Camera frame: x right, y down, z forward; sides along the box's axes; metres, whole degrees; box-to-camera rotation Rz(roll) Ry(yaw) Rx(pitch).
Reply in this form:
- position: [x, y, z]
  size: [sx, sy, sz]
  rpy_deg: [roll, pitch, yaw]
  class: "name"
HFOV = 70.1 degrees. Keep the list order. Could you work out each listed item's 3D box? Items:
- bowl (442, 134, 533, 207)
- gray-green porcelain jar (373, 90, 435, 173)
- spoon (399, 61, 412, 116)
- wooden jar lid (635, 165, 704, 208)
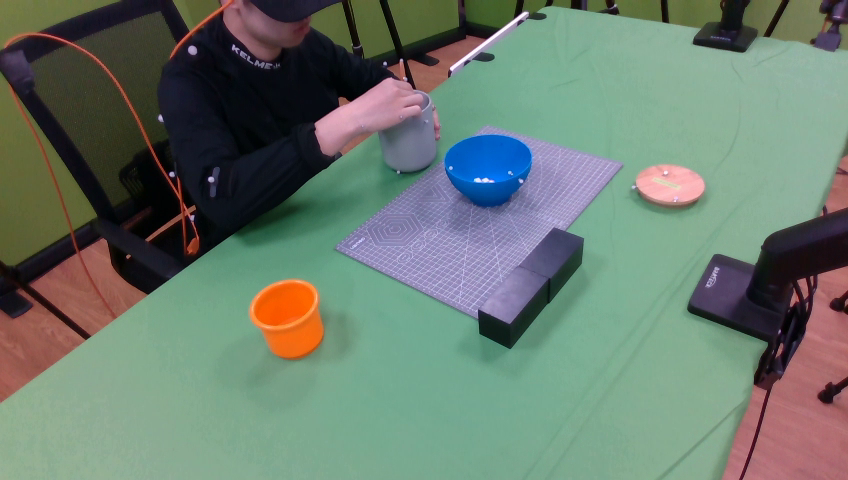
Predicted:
- position: [0.110, -0.109, 1.033]
  size: [0.151, 0.077, 0.150]
  rpy_deg: [-4, 41, 4]
  class: "bowl"
- position: [-0.034, -0.198, 1.125]
  size: [0.106, 0.127, 0.105]
  rpy_deg: [-4, 41, 4]
  class: "gray-green porcelain jar"
- position: [-0.024, -0.228, 1.090]
  size: [0.021, 0.195, 0.041]
  rpy_deg: [-1, 38, 22]
  class: "spoon"
- position: [0.410, -0.089, 1.014]
  size: [0.108, 0.021, 0.108]
  rpy_deg: [-5, 42, 5]
  class: "wooden jar lid"
